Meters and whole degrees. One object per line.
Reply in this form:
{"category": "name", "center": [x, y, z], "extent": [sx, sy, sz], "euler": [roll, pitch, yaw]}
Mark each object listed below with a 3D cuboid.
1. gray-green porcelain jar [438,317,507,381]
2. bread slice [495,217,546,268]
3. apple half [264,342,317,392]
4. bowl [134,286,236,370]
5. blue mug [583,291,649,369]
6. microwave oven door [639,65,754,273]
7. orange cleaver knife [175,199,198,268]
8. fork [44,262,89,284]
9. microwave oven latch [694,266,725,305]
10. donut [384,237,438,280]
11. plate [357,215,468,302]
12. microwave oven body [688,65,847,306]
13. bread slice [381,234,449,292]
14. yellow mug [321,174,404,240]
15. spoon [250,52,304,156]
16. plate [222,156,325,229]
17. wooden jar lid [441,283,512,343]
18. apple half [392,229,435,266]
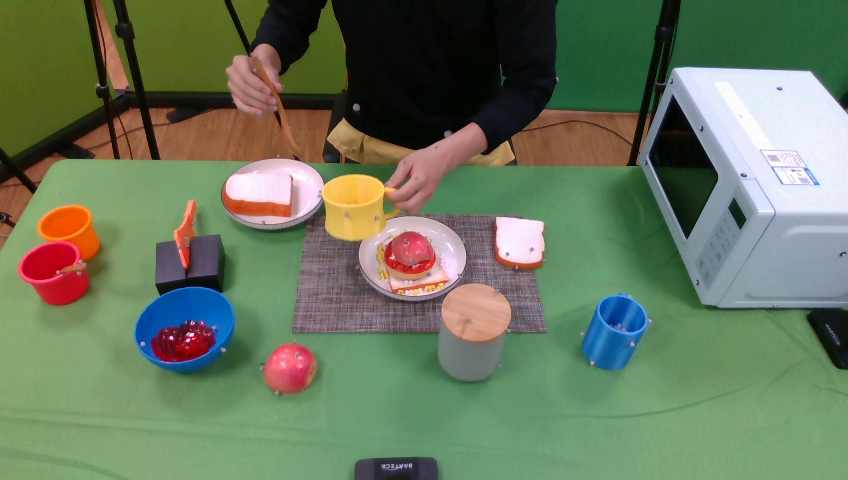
{"category": "gray-green porcelain jar", "center": [0.076, 0.158, 0.977], "extent": [0.106, 0.127, 0.105], "euler": [2, 47, -2]}
{"category": "bread slice", "center": [0.194, 0.003, 1.205], "extent": [0.105, 0.019, 0.131], "euler": [5, 44, 3]}
{"category": "apple half", "center": [-0.214, 0.198, 0.970], "extent": [0.074, 0.053, 0.080], "euler": [19, 48, 10]}
{"category": "bowl", "center": [-0.377, 0.155, 0.981], "extent": [0.151, 0.077, 0.150], "euler": [2, 46, -2]}
{"category": "blue mug", "center": [0.324, 0.142, 1.023], "extent": [0.082, 0.106, 0.116], "euler": [15, 47, 11]}
{"category": "microwave oven door", "center": [0.522, -0.147, 1.193], "extent": [0.039, 0.245, 0.353], "euler": [0, 47, -3]}
{"category": "orange cleaver knife", "center": [-0.438, -0.017, 1.138], "extent": [0.012, 0.077, 0.210], "euler": [-14, 27, -6]}
{"category": "fork", "center": [-0.598, 0.054, 1.014], "extent": [0.207, 0.019, 0.028], "euler": [-15, 29, 45]}
{"category": "microwave oven latch", "center": [0.523, 0.082, 1.115], "extent": [0.030, 0.029, 0.078], "euler": [3, 46, 0]}
{"category": "donut", "center": [-0.025, 0.030, 1.110], "extent": [0.099, 0.048, 0.098], "euler": [2, 46, -2]}
{"category": "plate", "center": [-0.022, 0.037, 1.141], "extent": [0.208, 0.039, 0.206], "euler": [2, 46, -2]}
{"category": "microwave oven body", "center": [0.669, -0.111, 1.176], "extent": [0.326, 0.261, 0.439], "euler": [0, 46, -3]}
{"category": "bread slice", "center": [-0.027, 0.039, 1.140], "extent": [0.107, 0.018, 0.133], "euler": [-11, 49, -16]}
{"category": "yellow mug", "center": [-0.096, -0.056, 0.969], "extent": [0.131, 0.064, 0.099], "euler": [-8, 36, -12]}
{"category": "spoon", "center": [-0.233, -0.211, 0.965], "extent": [0.021, 0.195, 0.041], "euler": [-32, 44, -20]}
{"category": "plate", "center": [-0.308, -0.095, 1.251], "extent": [0.209, 0.038, 0.208], "euler": [2, 47, -2]}
{"category": "wooden jar lid", "center": [0.080, 0.114, 0.931], "extent": [0.108, 0.021, 0.107], "euler": [1, 49, -1]}
{"category": "apple half", "center": [-0.020, 0.005, 1.083], "extent": [0.081, 0.033, 0.081], "euler": [6, 47, -6]}
